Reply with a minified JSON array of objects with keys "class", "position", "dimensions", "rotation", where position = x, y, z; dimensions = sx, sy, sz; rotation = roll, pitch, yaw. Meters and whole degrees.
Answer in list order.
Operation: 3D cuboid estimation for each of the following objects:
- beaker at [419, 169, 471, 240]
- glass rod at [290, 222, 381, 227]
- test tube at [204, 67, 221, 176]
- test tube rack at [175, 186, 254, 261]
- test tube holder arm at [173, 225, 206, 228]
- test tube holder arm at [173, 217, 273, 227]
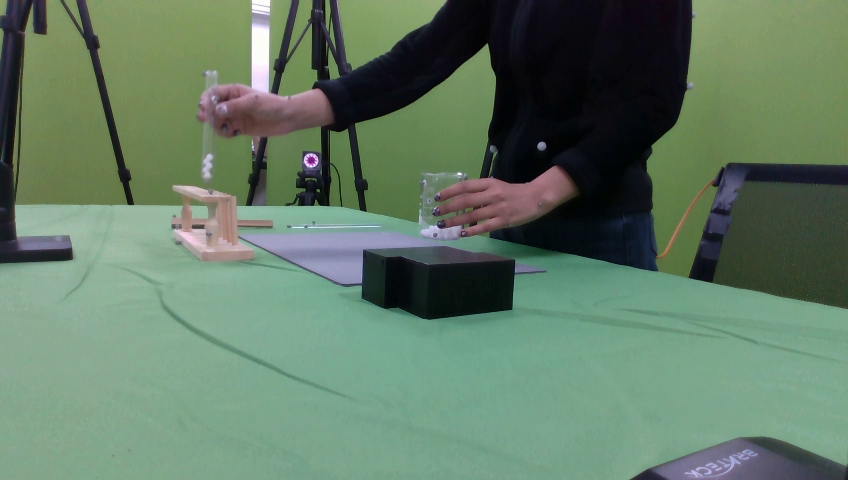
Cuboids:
[{"class":"beaker","position":[0.028,-0.055,0.915],"dimensions":[0.074,0.100,0.083],"rotation":[-1,11,-25]},{"class":"glass rod","position":[-0.178,-0.033,1.247],"dimensions":[0.201,0.008,0.008],"rotation":[-2,8,-30]},{"class":"test tube","position":[-0.294,-0.164,0.840],"dimensions":[0.017,0.150,0.017],"rotation":[3,-1,0]},{"class":"test tube rack","position":[-0.314,-0.031,0.889],"dimensions":[0.067,0.085,0.241],"rotation":[-2,8,-30]},{"class":"test tube holder arm","position":[-0.415,-0.030,1.113],"dimensions":[0.088,0.015,0.010],"rotation":[0,-23,-25]},{"class":"test tube holder arm","position":[-0.372,-0.032,1.128],"dimensions":[0.179,0.015,0.013],"rotation":[0,-24,-26]}]
